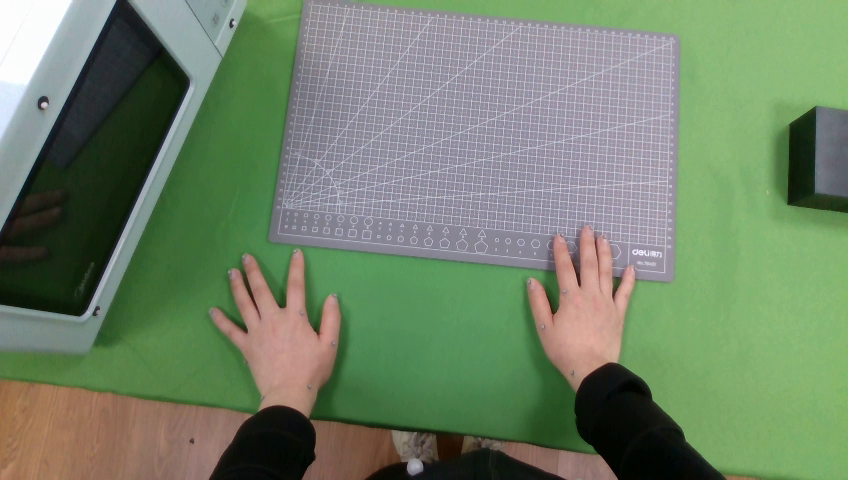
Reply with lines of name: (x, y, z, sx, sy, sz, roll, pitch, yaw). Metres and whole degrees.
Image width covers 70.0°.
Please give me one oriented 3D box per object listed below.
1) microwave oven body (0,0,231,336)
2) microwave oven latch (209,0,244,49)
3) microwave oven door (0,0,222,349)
microwave oven body: (-0.427, -0.164, 0.565, 0.326, 0.261, 0.440, 19, 80, 2)
microwave oven latch: (-0.228, -0.259, 0.684, 0.030, 0.029, 0.079, 21, 80, 3)
microwave oven door: (-0.304, -0.077, 0.546, 0.039, 0.244, 0.354, 19, 79, 4)
